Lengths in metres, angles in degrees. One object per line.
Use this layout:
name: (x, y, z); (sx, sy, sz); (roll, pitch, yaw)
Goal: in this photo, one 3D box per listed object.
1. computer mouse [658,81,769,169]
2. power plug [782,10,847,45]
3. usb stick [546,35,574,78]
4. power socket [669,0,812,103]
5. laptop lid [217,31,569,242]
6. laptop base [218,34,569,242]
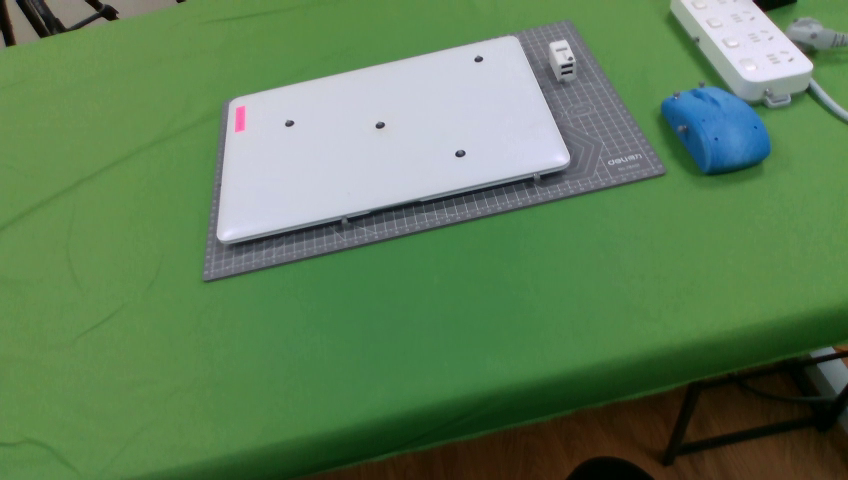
computer mouse: (0.273, -0.117, 0.578); (0.063, 0.041, 0.116); (-14, 44, 4)
power plug: (0.419, -0.220, 0.643); (0.072, 0.035, 0.052); (16, 29, -2)
usb stick: (0.153, -0.213, 0.689); (0.021, 0.027, 0.058); (-13, 46, 5)
power socket: (0.338, -0.231, 0.663); (0.072, 0.033, 0.224); (-11, 49, 4)
laptop lid: (-0.047, -0.124, 0.651); (0.357, 0.013, 0.239); (-12, 51, 3)
laptop base: (-0.045, -0.118, 0.661); (0.354, 0.023, 0.233); (-13, 52, 1)
